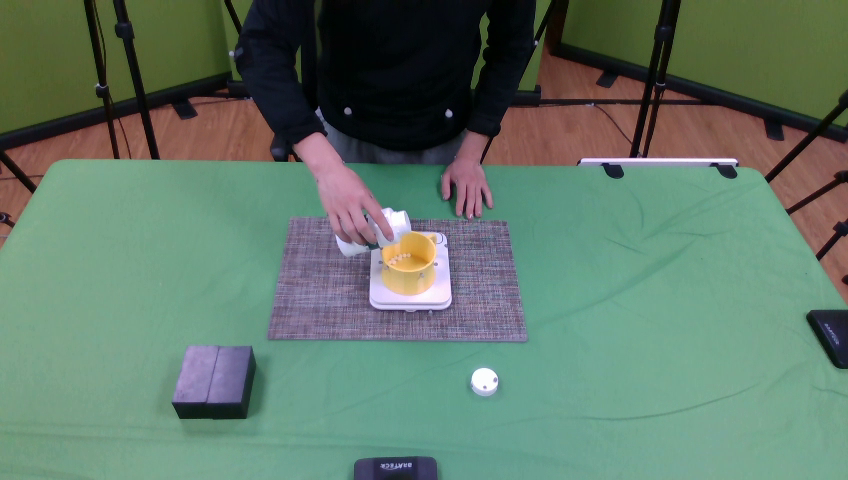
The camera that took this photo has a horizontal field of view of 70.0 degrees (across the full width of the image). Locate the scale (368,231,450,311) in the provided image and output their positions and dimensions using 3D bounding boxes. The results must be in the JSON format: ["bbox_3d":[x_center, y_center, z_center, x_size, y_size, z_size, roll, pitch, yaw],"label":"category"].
[{"bbox_3d":[-0.029,0.048,1.137,0.149,0.032,0.199,1,46,-4],"label":"scale"}]

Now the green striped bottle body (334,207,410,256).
[{"bbox_3d":[-0.085,-0.017,1.016,0.119,0.063,0.063,-15,46,9],"label":"green striped bottle body"}]

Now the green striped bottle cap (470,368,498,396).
[{"bbox_3d":[0.098,0.231,0.989,0.044,0.020,0.044,2,43,-2],"label":"green striped bottle cap"}]

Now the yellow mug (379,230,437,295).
[{"bbox_3d":[-0.020,0.031,1.089,0.099,0.064,0.130,31,51,24],"label":"yellow mug"}]
